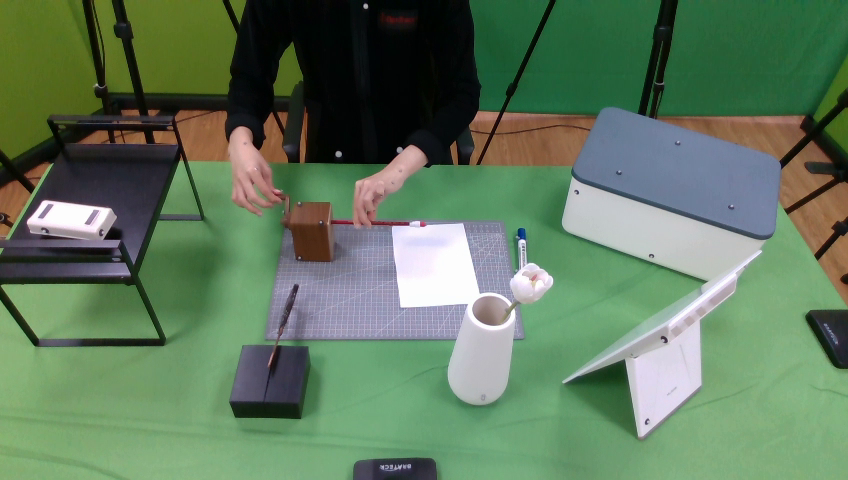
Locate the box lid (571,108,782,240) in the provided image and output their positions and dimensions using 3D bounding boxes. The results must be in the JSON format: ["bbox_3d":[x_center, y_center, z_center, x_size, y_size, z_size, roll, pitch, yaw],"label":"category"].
[{"bbox_3d":[0.491,-0.139,1.168,0.370,0.015,0.262,21,49,15],"label":"box lid"}]

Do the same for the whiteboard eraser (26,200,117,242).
[{"bbox_3d":[-0.532,-0.026,0.919,0.113,0.042,0.055,7,45,3],"label":"whiteboard eraser"}]

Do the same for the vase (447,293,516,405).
[{"bbox_3d":[0.091,0.169,0.921,0.098,0.201,0.097,3,47,-3],"label":"vase"}]

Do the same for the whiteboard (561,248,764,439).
[{"bbox_3d":[0.386,0.176,0.905,0.217,0.306,0.143,-26,72,-26],"label":"whiteboard"}]

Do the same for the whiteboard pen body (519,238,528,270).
[{"bbox_3d":[0.193,0.035,1.180,0.017,0.017,0.140,6,48,1],"label":"whiteboard pen body"}]

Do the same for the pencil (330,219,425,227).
[{"bbox_3d":[-0.095,-0.032,1.114,0.194,0.012,0.012,2,46,2],"label":"pencil"}]

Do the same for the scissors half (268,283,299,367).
[{"bbox_3d":[-0.230,0.135,0.986,0.013,0.040,0.174,19,43,-11],"label":"scissors half"}]

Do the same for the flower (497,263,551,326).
[{"bbox_3d":[0.102,0.121,0.852,0.044,0.363,0.038,-2,64,-10],"label":"flower"}]

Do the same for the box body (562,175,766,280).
[{"bbox_3d":[0.486,-0.088,1.222,0.363,0.161,0.253,20,48,15],"label":"box body"}]

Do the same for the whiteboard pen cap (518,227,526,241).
[{"bbox_3d":[0.197,-0.009,1.220,0.018,0.018,0.033,5,51,1],"label":"whiteboard pen cap"}]

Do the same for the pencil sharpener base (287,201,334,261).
[{"bbox_3d":[-0.212,-0.016,1.134,0.077,0.107,0.061,1,47,-3],"label":"pencil sharpener base"}]

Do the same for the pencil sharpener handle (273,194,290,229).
[{"bbox_3d":[-0.262,-0.052,1.112,0.031,0.036,0.067,1,85,-3],"label":"pencil sharpener handle"}]

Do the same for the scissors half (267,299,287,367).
[{"bbox_3d":[-0.239,0.150,0.997,0.013,0.040,0.174,24,24,-13],"label":"scissors half"}]
